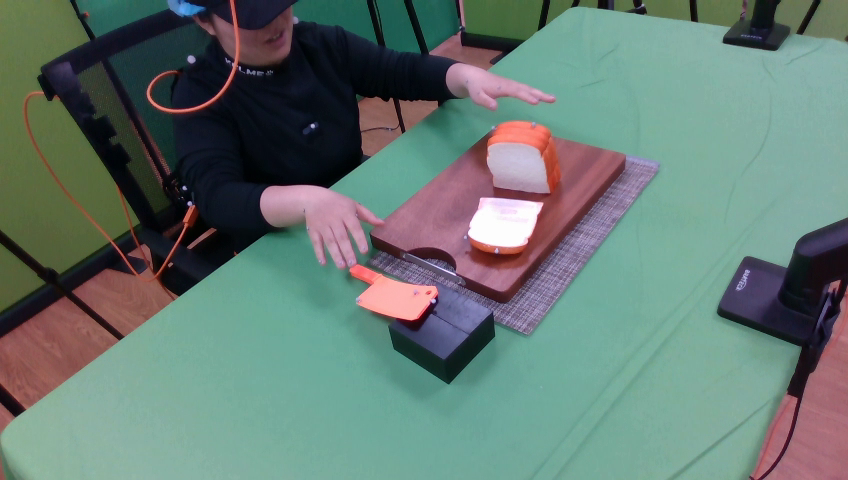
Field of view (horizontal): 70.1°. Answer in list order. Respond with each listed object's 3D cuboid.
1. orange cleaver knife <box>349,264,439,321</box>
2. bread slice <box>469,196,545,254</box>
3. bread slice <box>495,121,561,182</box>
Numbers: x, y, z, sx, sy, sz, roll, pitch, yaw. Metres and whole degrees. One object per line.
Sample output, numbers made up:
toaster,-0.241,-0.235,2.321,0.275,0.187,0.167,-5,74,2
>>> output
orange cleaver knife,-0.061,0.073,0.877,0.077,0.012,0.209,-39,32,-27
bread slice,0.124,-0.024,0.943,0.104,0.019,0.131,8,39,18
bread slice,0.170,-0.144,0.997,0.106,0.135,0.018,10,60,21
